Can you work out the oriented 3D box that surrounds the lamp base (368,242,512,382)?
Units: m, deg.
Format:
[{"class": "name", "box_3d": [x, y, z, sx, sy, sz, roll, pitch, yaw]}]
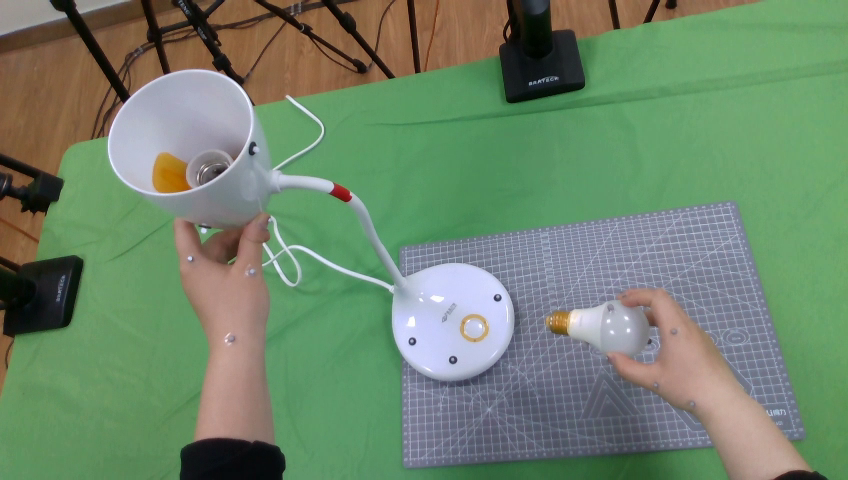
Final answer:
[{"class": "lamp base", "box_3d": [0.005, 0.068, 0.722, 0.178, 0.182, 0.160, 16, 69, 24]}]

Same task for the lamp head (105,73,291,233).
[{"class": "lamp head", "box_3d": [-0.173, -0.058, 0.500, 0.112, 0.124, 0.111, -4, 66, 9]}]

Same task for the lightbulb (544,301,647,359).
[{"class": "lightbulb", "box_3d": [0.178, 0.093, 0.638, 0.107, 0.060, 0.059, 2, 64, 32]}]
